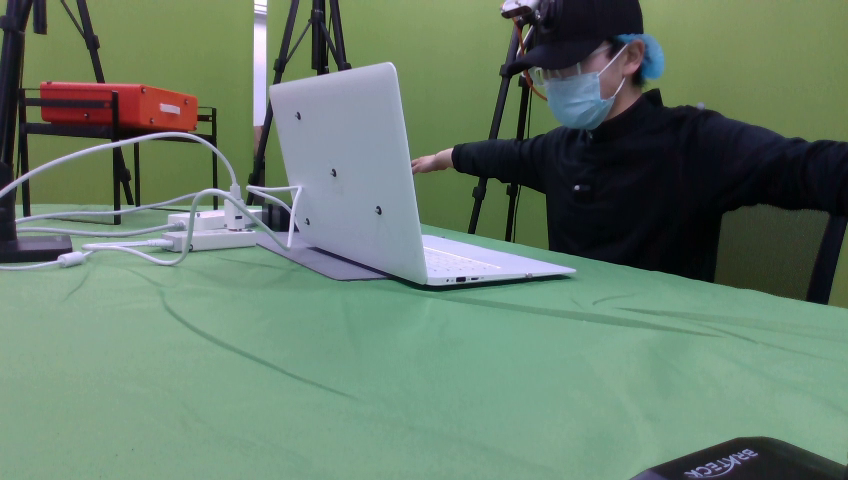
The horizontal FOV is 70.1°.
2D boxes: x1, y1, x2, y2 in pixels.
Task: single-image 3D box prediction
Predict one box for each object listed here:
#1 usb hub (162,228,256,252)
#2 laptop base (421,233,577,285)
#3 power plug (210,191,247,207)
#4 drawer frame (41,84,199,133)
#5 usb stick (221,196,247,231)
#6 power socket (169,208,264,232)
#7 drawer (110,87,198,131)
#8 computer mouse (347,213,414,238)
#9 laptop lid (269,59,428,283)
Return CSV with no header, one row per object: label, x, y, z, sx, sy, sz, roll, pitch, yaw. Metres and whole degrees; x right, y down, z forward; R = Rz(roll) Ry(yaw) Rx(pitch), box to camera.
usb hub,-0.315,-0.001,0.893,0.049,0.025,0.126,9,10,41
laptop base,0.007,0.022,0.850,0.237,0.023,0.352,1,7,-34
power plug,-0.386,-0.071,1.204,0.072,0.052,0.035,8,11,26
drawer frame,-0.604,-0.264,1.225,0.213,0.082,0.202,3,8,8
usb stick,-0.290,-0.035,0.920,0.027,0.059,0.021,14,4,32
power socket,-0.381,-0.038,1.128,0.072,0.032,0.227,4,8,17
drawer,-0.602,-0.263,1.225,0.211,0.073,0.195,3,8,10
computer mouse,-0.079,-0.025,1.080,0.117,0.041,0.062,-5,11,-18
laptop lid,-0.110,-0.087,0.752,0.013,0.241,0.355,-18,19,-30
